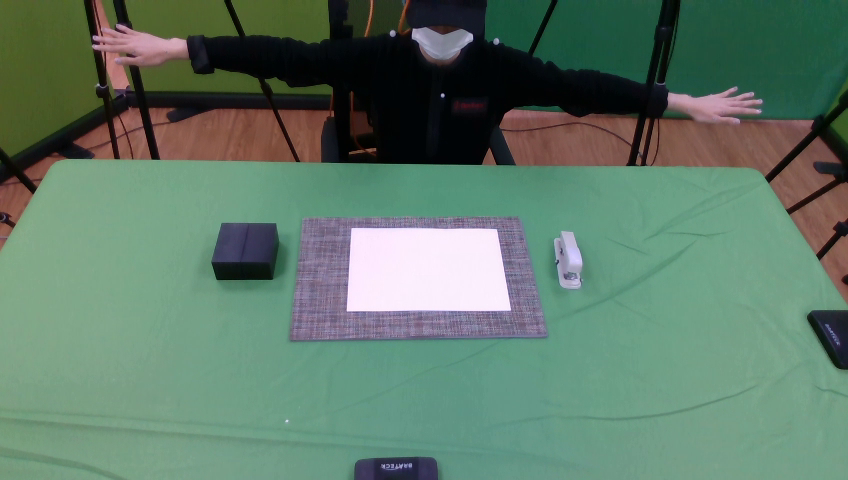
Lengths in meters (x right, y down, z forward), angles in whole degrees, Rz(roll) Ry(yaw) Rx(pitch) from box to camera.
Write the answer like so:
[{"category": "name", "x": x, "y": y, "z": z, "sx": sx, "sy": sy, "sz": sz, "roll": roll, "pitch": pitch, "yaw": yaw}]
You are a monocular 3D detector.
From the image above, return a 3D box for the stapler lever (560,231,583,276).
[{"category": "stapler lever", "x": 0.282, "y": 0.018, "z": 1.165, "sx": 0.027, "sy": 0.040, "sz": 0.117, "roll": 5, "pitch": 44, "yaw": -2}]

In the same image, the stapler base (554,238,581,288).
[{"category": "stapler base", "x": 0.282, "y": 0.038, "z": 1.181, "sx": 0.041, "sy": 0.024, "sz": 0.130, "roll": 5, "pitch": 44, "yaw": -2}]
